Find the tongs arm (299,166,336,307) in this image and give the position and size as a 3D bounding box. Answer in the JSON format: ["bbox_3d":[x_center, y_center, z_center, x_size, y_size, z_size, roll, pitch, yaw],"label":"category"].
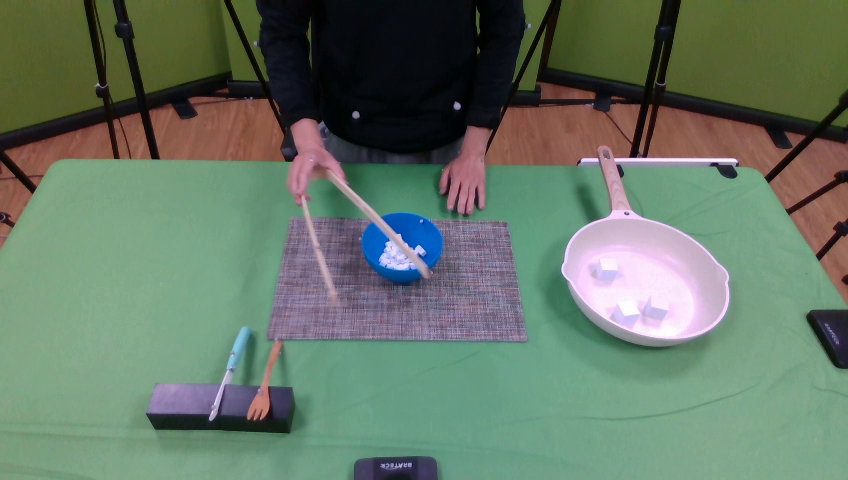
[{"bbox_3d":[-0.169,-0.022,1.006,0.051,0.026,0.382,-16,37,-13],"label":"tongs arm"}]

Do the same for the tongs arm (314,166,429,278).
[{"bbox_3d":[-0.098,-0.043,1.029,0.028,0.028,0.385,-27,41,-20],"label":"tongs arm"}]

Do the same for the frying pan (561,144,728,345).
[{"bbox_3d":[0.397,-0.008,1.179,0.307,0.103,0.485,2,55,-4],"label":"frying pan"}]

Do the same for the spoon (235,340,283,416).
[{"bbox_3d":[-0.244,0.207,0.932,0.042,0.022,0.193,27,25,-8],"label":"spoon"}]

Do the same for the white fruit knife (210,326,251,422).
[{"bbox_3d":[-0.300,0.201,0.941,0.016,0.027,0.206,-2,32,0],"label":"white fruit knife"}]

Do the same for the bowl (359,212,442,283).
[{"bbox_3d":[-0.044,0.026,1.125,0.151,0.077,0.150,2,46,-2],"label":"bowl"}]
